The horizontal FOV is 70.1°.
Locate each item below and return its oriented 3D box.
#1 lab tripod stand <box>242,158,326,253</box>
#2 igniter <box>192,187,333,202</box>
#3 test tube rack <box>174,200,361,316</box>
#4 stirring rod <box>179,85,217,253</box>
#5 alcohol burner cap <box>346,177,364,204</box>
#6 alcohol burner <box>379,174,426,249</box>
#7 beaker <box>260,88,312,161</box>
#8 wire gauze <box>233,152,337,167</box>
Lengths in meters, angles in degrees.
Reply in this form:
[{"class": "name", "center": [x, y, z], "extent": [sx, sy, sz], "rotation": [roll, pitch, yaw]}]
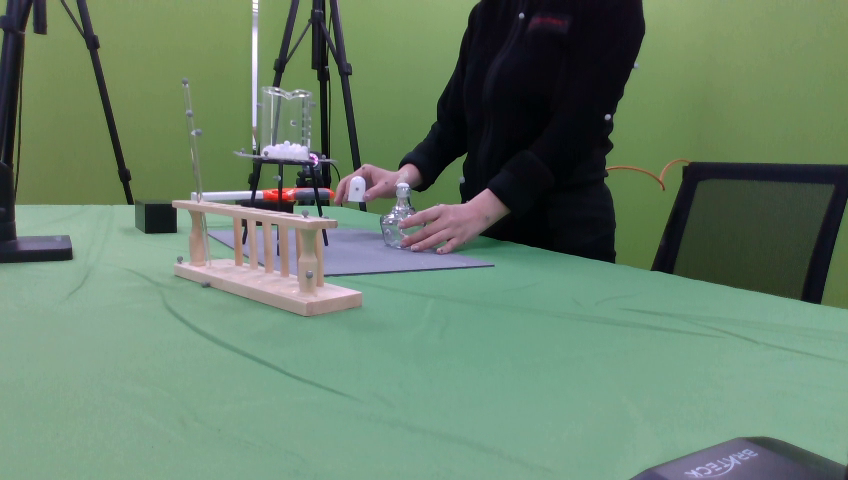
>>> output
[{"class": "lab tripod stand", "center": [-0.207, -0.054, 0.895], "extent": [0.148, 0.131, 0.148], "rotation": [2, 5, 0]}, {"class": "igniter", "center": [-0.316, -0.090, 1.214], "extent": [0.278, 0.025, 0.057], "rotation": [-5, 12, -31]}, {"class": "test tube rack", "center": [-0.169, 0.009, 0.622], "extent": [0.241, 0.085, 0.067], "rotation": [9, 9, 41]}, {"class": "stirring rod", "center": [-0.236, -0.073, 0.634], "extent": [0.006, 0.176, 0.014], "rotation": [0, 10, 42]}, {"class": "alcohol burner cap", "center": [-0.123, -0.089, 1.079], "extent": [0.034, 0.048, 0.034], "rotation": [4, 6, 0]}, {"class": "alcohol burner", "center": [-0.034, -0.046, 0.975], "extent": [0.078, 0.119, 0.078], "rotation": [1, 6, 0]}, {"class": "beaker", "center": [-0.201, -0.166, 0.876], "extent": [0.074, 0.100, 0.083], "rotation": [1, 7, -18]}, {"class": "wire gauze", "center": [-0.205, -0.119, 0.887], "extent": [0.122, 0.011, 0.124], "rotation": [2, 4, -32]}]
